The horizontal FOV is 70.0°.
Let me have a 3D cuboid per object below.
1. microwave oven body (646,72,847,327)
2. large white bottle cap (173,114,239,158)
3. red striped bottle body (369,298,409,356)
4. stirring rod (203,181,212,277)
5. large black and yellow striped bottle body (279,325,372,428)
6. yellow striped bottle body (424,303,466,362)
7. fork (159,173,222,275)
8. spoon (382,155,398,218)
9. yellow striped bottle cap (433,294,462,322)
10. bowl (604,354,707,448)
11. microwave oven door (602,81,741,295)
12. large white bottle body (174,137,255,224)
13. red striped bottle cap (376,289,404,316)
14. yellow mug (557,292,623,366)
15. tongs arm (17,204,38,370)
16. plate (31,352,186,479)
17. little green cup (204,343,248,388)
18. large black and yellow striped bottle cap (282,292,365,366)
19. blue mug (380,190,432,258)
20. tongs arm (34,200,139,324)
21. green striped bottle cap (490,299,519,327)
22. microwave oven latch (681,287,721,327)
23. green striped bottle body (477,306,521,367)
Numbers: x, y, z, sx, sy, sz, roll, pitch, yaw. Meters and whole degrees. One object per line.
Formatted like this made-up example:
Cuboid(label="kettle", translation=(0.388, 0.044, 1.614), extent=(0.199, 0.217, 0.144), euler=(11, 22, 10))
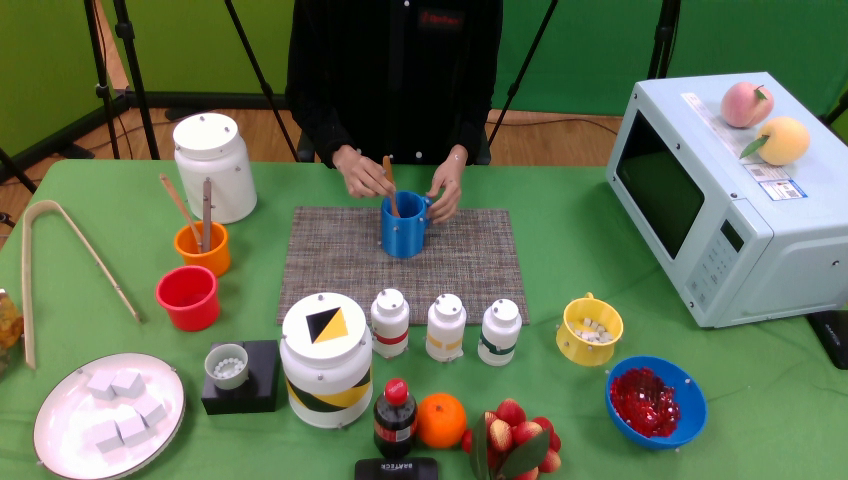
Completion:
Cuboid(label="microwave oven body", translation=(0.607, -0.089, 1.164), extent=(0.326, 0.261, 0.438), euler=(-7, 46, -10))
Cuboid(label="large white bottle cap", translation=(-0.403, -0.195, 1.122), extent=(0.115, 0.018, 0.114), euler=(2, 47, -2))
Cuboid(label="red striped bottle body", translation=(-0.058, 0.134, 0.997), extent=(0.063, 0.120, 0.062), euler=(4, 47, -4))
Cuboid(label="stirring rod", translation=(-0.396, -0.021, 1.108), extent=(0.014, 0.006, 0.176), euler=(-1, 89, -1))
Cuboid(label="large black and yellow striped bottle body", translation=(-0.143, 0.181, 0.900), extent=(0.131, 0.185, 0.130), euler=(2, 46, -2))
Cuboid(label="yellow striped bottle body", translation=(0.035, 0.143, 0.995), extent=(0.063, 0.121, 0.062), euler=(3, 46, -3))
Cuboid(label="fork", translation=(-0.427, -0.029, 1.103), extent=(0.028, 0.018, 0.207), euler=(-31, 99, -30))
Cuboid(label="spoon", translation=(-0.062, -0.072, 1.111), extent=(0.041, 0.195, 0.021), euler=(-4, 35, 3))
Cuboid(label="yellow striped bottle cap", translation=(0.037, 0.107, 0.958), extent=(0.044, 0.019, 0.044), euler=(2, 45, -2))
Cuboid(label="bowl", translation=(0.346, 0.261, 0.937), extent=(0.151, 0.077, 0.150), euler=(2, 46, -2))
Cuboid(label="microwave oven door", translation=(0.456, -0.107, 1.162), extent=(0.039, 0.245, 0.353), euler=(-7, 47, -11))
Cuboid(label="large white bottle body", translation=(-0.408, -0.136, 1.183), extent=(0.131, 0.185, 0.130), euler=(2, 46, -2))
Cuboid(label="red striped bottle cap", translation=(-0.055, 0.098, 0.958), extent=(0.044, 0.018, 0.044), euler=(0, 48, 0))
Cuboid(label="yellow mug", translation=(0.285, 0.145, 1.051), extent=(0.100, 0.064, 0.130), euler=(7, 45, 4))
Cuboid(label="tongs arm", translation=(-0.698, 0.069, 1.068), extent=(0.028, 0.028, 0.385), euler=(-20, 50, -13))
Cuboid(label="plate", translation=(-0.459, 0.262, 0.898), extent=(0.209, 0.038, 0.208), euler=(2, 46, -2))
Cuboid(label="little green cup", translation=(-0.294, 0.190, 0.909), extent=(0.061, 0.039, 0.061), euler=(1, 48, -1))
Cuboid(label="large black and yellow striped bottle cap", translation=(-0.138, 0.121, 0.841), extent=(0.115, 0.019, 0.114), euler=(3, 47, -3))
Cuboid(label="blue mug", translation=(-0.030, -0.037, 1.169), extent=(0.116, 0.106, 0.082), euler=(-29, 55, -28))
Cuboid(label="tongs arm", translation=(-0.622, 0.034, 1.105), extent=(0.051, 0.026, 0.382), euler=(-32, 55, -26))
Cuboid(label="green striped bottle cap", translation=(0.127, 0.115, 0.958), extent=(0.044, 0.020, 0.044), euler=(2, 47, -2))
Cuboid(label="microwave oven latch", translation=(0.494, 0.119, 1.087), extent=(0.030, 0.029, 0.078), euler=(-6, 46, -9))
Cuboid(label="green striped bottle body", translation=(0.124, 0.151, 0.996), extent=(0.063, 0.120, 0.063), euler=(2, 46, -2))
